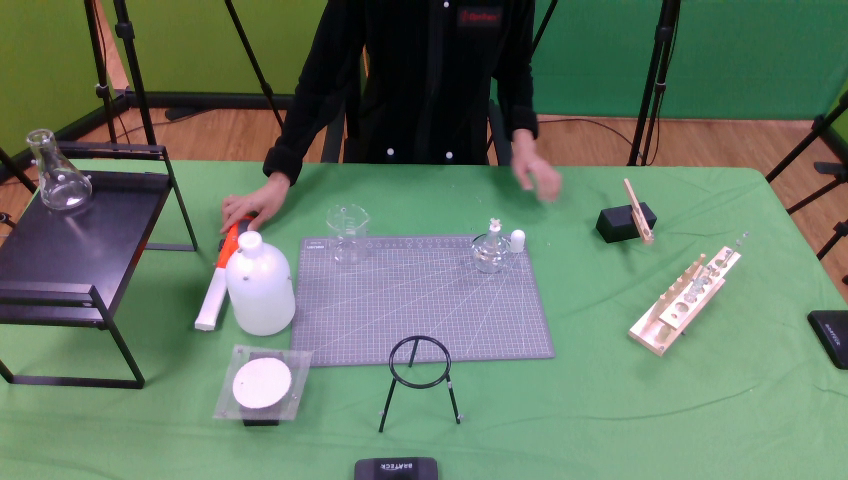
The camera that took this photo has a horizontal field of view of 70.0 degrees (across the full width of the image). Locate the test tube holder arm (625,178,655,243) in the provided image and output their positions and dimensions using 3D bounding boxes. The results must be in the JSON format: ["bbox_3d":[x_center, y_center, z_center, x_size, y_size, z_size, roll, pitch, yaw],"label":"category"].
[{"bbox_3d":[0.433,-0.062,1.220,0.013,0.015,0.177,1,47,-3],"label":"test tube holder arm"}]

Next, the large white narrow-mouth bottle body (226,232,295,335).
[{"bbox_3d":[-0.270,0.065,0.995,0.102,0.195,0.101,2,46,-2],"label":"large white narrow-mouth bottle body"}]

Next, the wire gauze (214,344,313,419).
[{"bbox_3d":[-0.241,0.213,0.915,0.121,0.011,0.124,5,46,1],"label":"wire gauze"}]

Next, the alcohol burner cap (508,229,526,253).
[{"bbox_3d":[0.185,-0.002,1.192,0.034,0.048,0.033,3,45,-2],"label":"alcohol burner cap"}]

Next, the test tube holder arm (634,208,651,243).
[{"bbox_3d":[0.428,-0.030,1.189,0.010,0.015,0.087,1,47,-2],"label":"test tube holder arm"}]

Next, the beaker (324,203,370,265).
[{"bbox_3d":[-0.142,-0.009,1.137,0.084,0.101,0.073,-2,47,-7],"label":"beaker"}]

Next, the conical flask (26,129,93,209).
[{"bbox_3d":[-0.575,-0.113,0.946,0.075,0.122,0.075,2,46,-2],"label":"conical flask"}]

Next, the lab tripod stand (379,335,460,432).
[{"bbox_3d":[-0.010,0.214,0.911,0.148,0.132,0.147,1,45,0],"label":"lab tripod stand"}]

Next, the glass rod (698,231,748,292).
[{"bbox_3d":[0.514,0.044,1.051,0.008,0.200,0.008,1,55,-1],"label":"glass rod"}]

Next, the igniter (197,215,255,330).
[{"bbox_3d":[-0.362,0.050,1.118,0.057,0.025,0.275,12,44,-8],"label":"igniter"}]

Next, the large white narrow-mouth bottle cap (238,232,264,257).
[{"bbox_3d":[-0.266,0.007,0.933,0.038,0.024,0.037,2,46,-2],"label":"large white narrow-mouth bottle cap"}]

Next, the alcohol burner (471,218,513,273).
[{"bbox_3d":[0.128,0.005,1.132,0.078,0.120,0.077,0,47,0],"label":"alcohol burner"}]

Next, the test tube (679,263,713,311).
[{"bbox_3d":[0.453,0.092,1.023,0.017,0.151,0.017,1,49,-1],"label":"test tube"}]

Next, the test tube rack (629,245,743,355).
[{"bbox_3d":[0.474,0.095,1.091,0.242,0.085,0.066,-34,56,-31],"label":"test tube rack"}]
